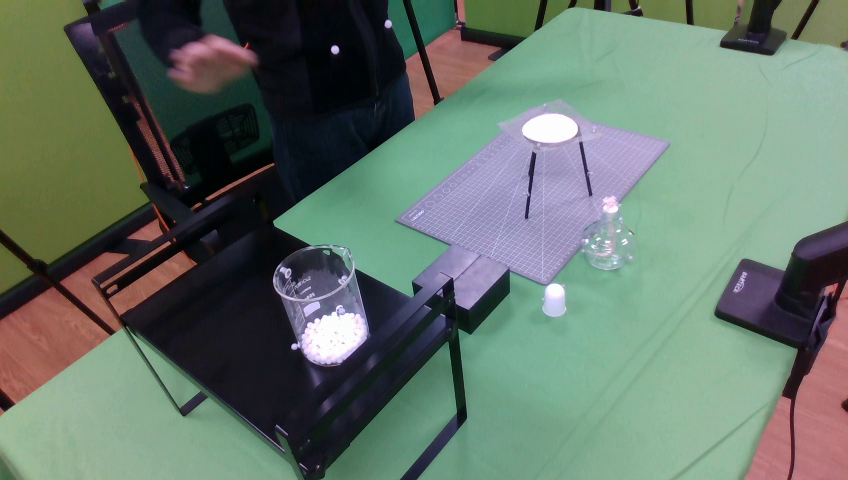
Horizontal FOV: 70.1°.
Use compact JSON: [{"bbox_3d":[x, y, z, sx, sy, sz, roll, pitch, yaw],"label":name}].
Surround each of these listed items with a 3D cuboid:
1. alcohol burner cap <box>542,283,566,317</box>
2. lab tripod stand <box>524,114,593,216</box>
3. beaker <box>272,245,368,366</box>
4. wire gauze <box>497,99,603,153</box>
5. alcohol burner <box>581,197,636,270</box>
[{"bbox_3d":[0.181,0.080,0.840,0.034,0.048,0.033,-3,40,3],"label":"alcohol burner cap"},{"bbox_3d":[0.210,-0.127,1.001,0.148,0.132,0.147,-4,43,4],"label":"lab tripod stand"},{"bbox_3d":[-0.093,0.064,0.578,0.073,0.101,0.084,21,48,29],"label":"beaker"},{"bbox_3d":[0.199,-0.181,0.962,0.125,0.011,0.120,-20,43,-13],"label":"wire gauze"},{"bbox_3d":[0.270,-0.015,0.882,0.078,0.119,0.077,-5,42,5],"label":"alcohol burner"}]
